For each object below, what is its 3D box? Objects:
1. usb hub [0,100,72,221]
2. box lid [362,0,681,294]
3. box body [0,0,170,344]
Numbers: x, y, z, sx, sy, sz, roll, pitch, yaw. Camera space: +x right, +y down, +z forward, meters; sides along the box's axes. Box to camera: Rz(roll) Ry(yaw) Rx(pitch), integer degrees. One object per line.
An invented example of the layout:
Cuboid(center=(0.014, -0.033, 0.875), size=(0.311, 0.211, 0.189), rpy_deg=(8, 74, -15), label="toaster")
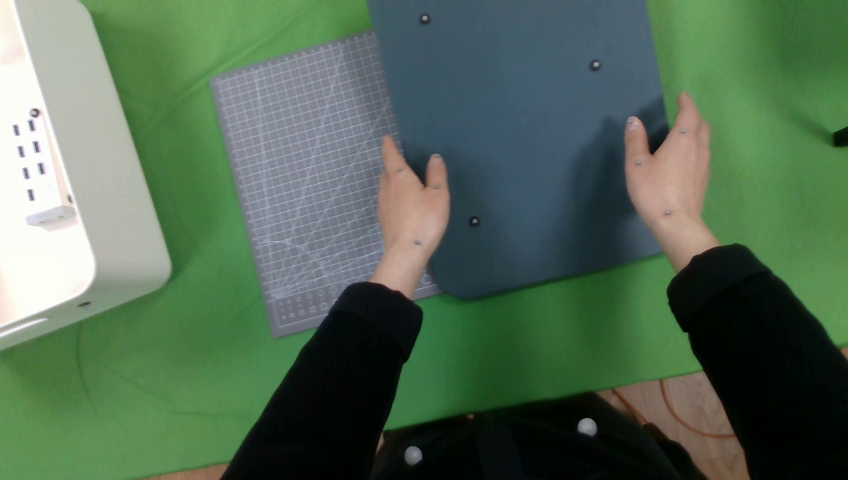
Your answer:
Cuboid(center=(-0.429, -0.087, 0.670), size=(0.049, 0.025, 0.125), rpy_deg=(-16, 87, 2), label="usb hub")
Cuboid(center=(0.097, -0.141, 0.604), size=(0.263, 0.015, 0.372), rpy_deg=(-14, 99, 5), label="box lid")
Cuboid(center=(-0.446, -0.083, 0.609), size=(0.254, 0.160, 0.363), rpy_deg=(-21, 86, 3), label="box body")
